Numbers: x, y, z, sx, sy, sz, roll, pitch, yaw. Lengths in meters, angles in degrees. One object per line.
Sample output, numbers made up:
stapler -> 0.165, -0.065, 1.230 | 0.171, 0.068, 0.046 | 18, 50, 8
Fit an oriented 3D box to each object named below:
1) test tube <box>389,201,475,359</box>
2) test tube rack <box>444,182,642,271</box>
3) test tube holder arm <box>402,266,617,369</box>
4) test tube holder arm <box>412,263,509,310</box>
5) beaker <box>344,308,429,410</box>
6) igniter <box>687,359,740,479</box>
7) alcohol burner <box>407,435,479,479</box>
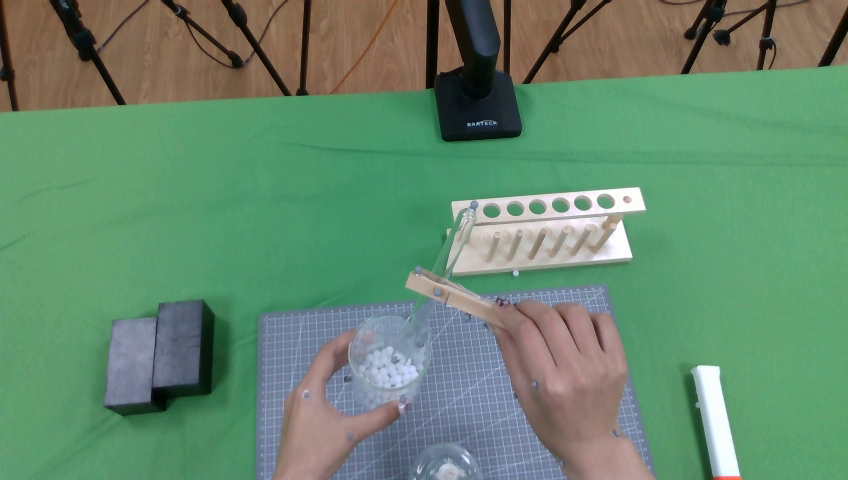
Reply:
test tube -> 0.005, 0.035, 0.497 | 0.017, 0.151, 0.017 | 21, 21, -8
test tube rack -> 0.152, -0.017, 0.784 | 0.243, 0.086, 0.066 | -5, 64, -5
test tube holder arm -> 0.066, 0.061, 0.482 | 0.178, 0.013, 0.015 | 23, 108, 8
test tube holder arm -> 0.028, 0.043, 0.495 | 0.087, 0.010, 0.015 | 26, 108, 16
beaker -> -0.035, 0.116, 0.580 | 0.084, 0.101, 0.073 | -32, 69, -22
igniter -> 0.341, 0.272, 0.688 | 0.057, 0.025, 0.274 | 6, 64, -11
alcohol burner -> 0.021, 0.241, 0.633 | 0.078, 0.120, 0.077 | 2, 62, -3
